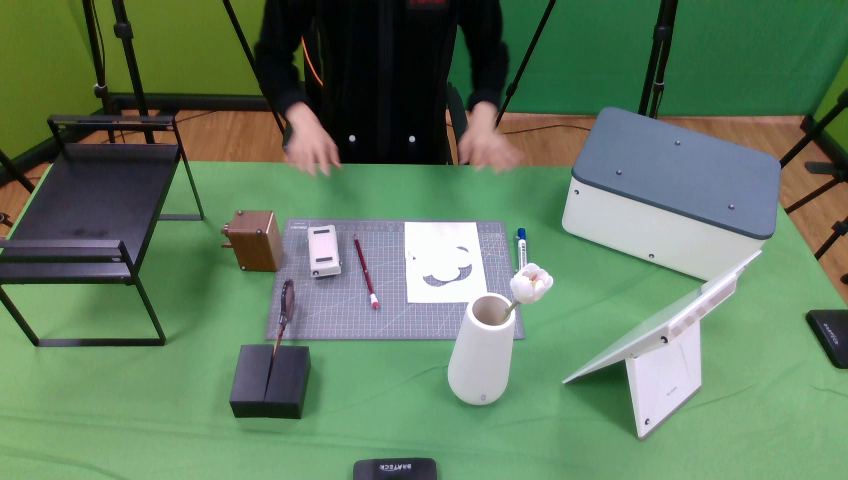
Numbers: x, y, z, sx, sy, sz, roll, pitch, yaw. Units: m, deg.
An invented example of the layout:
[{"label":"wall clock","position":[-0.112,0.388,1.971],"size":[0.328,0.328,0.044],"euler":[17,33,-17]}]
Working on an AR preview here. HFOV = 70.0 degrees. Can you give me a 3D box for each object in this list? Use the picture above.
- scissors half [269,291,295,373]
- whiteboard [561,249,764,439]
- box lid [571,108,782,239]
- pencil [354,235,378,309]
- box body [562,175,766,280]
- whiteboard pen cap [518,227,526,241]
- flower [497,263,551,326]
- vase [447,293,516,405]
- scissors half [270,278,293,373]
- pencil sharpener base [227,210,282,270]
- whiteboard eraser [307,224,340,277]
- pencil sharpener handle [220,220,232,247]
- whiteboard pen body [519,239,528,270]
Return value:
[{"label":"scissors half","position":[-0.237,0.151,1.009],"size":[0.013,0.040,0.174],"euler":[4,38,0]},{"label":"whiteboard","position":[0.386,0.176,0.905],"size":[0.217,0.306,0.143],"euler":[-26,72,-26]},{"label":"box lid","position":[0.491,-0.139,1.168],"size":[0.370,0.015,0.262],"euler":[21,49,15]},{"label":"pencil","position":[-0.113,0.055,1.143],"size":[0.012,0.012,0.192],"euler":[-10,46,-13]},{"label":"box body","position":[0.486,-0.088,1.222],"size":[0.363,0.161,0.253],"euler":[20,48,15]},{"label":"whiteboard pen cap","position":[0.197,-0.009,1.220],"size":[0.018,0.018,0.033],"euler":[5,51,1]},{"label":"flower","position":[0.102,0.121,0.852],"size":[0.044,0.363,0.038],"euler":[-2,64,-10]},{"label":"vase","position":[0.091,0.169,0.921],"size":[0.098,0.201,0.097],"euler":[3,47,-3]},{"label":"scissors half","position":[-0.236,0.137,0.994],"size":[0.013,0.040,0.174],"euler":[0,55,3]},{"label":"pencil sharpener base","position":[-0.311,0.001,1.112],"size":[0.077,0.107,0.061],"euler":[1,47,1]},{"label":"whiteboard eraser","position":[-0.191,0.022,1.144],"size":[0.056,0.042,0.112],"euler":[-5,47,-10]},{"label":"pencil sharpener handle","position":[-0.362,-0.009,1.105],"size":[0.030,0.068,0.036],"euler":[1,52,1]},{"label":"whiteboard pen body","position":[0.193,0.035,1.181],"size":[0.017,0.017,0.140],"euler":[6,48,1]}]
